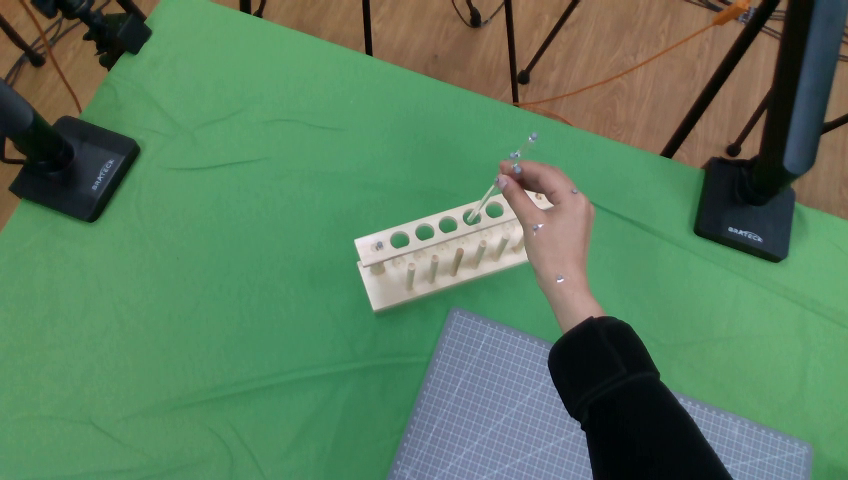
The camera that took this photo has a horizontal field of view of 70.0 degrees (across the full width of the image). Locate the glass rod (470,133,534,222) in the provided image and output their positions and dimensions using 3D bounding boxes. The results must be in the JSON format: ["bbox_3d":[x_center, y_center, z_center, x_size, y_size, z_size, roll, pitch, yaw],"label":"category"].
[{"bbox_3d":[0.072,-0.055,0.599,0.008,0.200,0.008,4,70,-10],"label":"glass rod"}]

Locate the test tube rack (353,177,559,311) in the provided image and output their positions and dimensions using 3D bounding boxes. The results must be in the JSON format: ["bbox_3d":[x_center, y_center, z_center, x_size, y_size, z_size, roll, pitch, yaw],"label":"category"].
[{"bbox_3d":[0.042,0.005,0.722,0.243,0.085,0.066,-18,70,-10],"label":"test tube rack"}]
